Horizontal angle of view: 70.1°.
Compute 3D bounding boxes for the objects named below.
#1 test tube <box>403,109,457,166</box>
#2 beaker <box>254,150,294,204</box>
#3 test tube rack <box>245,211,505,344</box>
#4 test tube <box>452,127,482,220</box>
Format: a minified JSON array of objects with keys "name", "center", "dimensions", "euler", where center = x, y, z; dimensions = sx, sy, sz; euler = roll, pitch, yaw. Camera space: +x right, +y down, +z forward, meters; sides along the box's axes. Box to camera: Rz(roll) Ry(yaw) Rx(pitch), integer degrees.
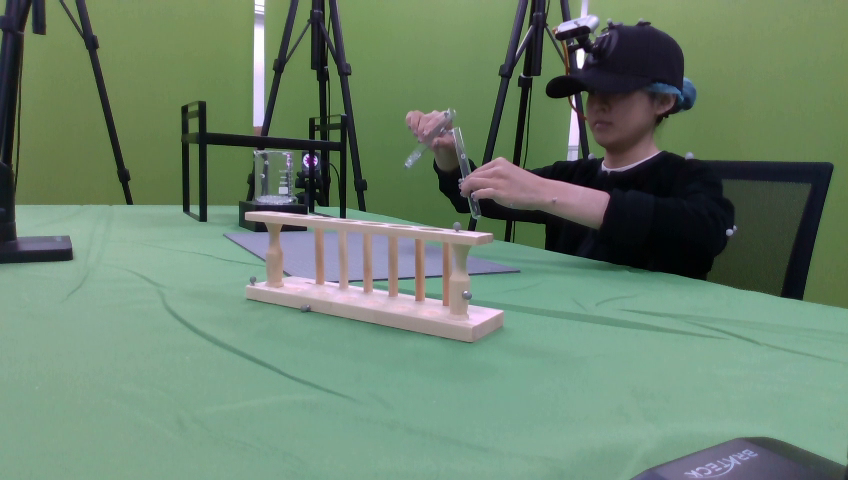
[{"name":"test tube","center":[0.008,-0.170,1.024],"dimensions":[0.017,0.017,0.150],"euler":[-4,-26,-40]},{"name":"beaker","center":[-0.289,-0.120,1.151],"dimensions":[0.073,0.100,0.084],"euler":[8,9,33]},{"name":"test tube rack","center":[-0.049,0.025,0.547],"dimensions":[0.241,0.085,0.067],"euler":[7,8,29]},{"name":"test tube","center":[0.066,-0.103,0.936],"dimensions":[0.017,0.150,0.017],"euler":[-12,-7,-1]}]
